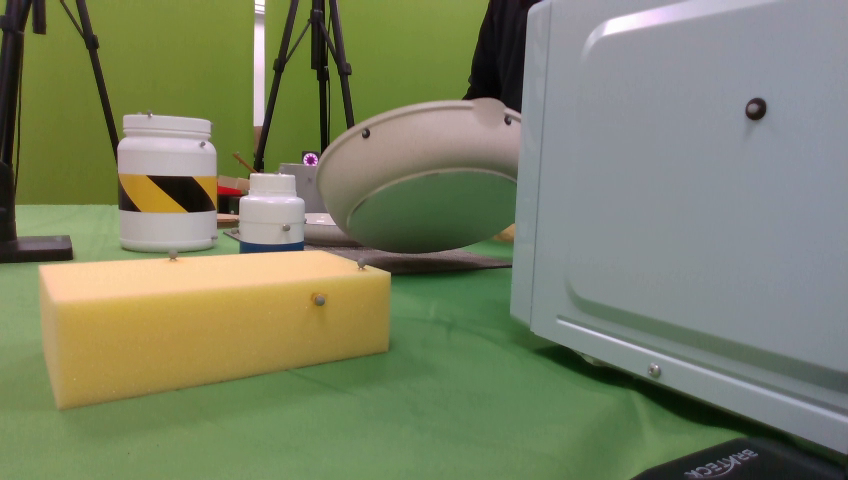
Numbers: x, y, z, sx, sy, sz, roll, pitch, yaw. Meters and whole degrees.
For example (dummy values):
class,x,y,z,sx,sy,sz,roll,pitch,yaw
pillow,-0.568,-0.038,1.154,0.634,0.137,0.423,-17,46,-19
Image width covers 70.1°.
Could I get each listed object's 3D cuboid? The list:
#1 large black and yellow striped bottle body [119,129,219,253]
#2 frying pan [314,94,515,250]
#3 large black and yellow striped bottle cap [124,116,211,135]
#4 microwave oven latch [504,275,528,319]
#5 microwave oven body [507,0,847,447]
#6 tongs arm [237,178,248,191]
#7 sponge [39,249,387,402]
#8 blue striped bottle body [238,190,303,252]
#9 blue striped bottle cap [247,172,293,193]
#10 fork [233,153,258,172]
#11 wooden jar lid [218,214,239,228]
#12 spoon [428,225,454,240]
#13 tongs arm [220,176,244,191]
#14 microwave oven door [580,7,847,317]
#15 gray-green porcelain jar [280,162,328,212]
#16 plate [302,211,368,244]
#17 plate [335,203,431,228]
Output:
class,x,y,z,sx,sy,sz,roll,pitch,yaw
large black and yellow striped bottle body,-0.367,-0.080,0.876,0.131,0.184,0.130,2,7,0
frying pan,0.104,-0.074,0.806,0.490,0.102,0.306,-6,-21,-28
large black and yellow striped bottle cap,-0.366,-0.163,0.866,0.115,0.019,0.115,3,7,0
microwave oven latch,0.100,0.042,0.469,0.079,0.029,0.030,-1,7,-25
microwave oven body,0.331,-0.042,0.425,0.444,0.260,0.324,-2,8,-31
tongs arm,-0.241,-0.095,1.374,0.387,0.026,0.050,9,0,-37
sponge,-0.142,0.047,0.420,0.208,0.061,0.117,-3,8,-36
blue striped bottle body,-0.153,-0.007,0.606,0.063,0.120,0.063,2,8,0
blue striped bottle cap,-0.152,-0.057,0.598,0.044,0.020,0.044,3,6,0
fork,-0.396,-0.143,1.486,0.028,0.018,0.208,20,-26,45
wooden jar lid,-0.404,-0.037,1.169,0.108,0.020,0.108,3,7,0
spoon,0.024,-0.018,1.125,0.042,0.021,0.193,-8,7,-5
tongs arm,-0.285,-0.104,1.445,0.389,0.027,0.028,9,-4,-23
microwave oven door,0.295,-0.067,0.570,0.358,0.243,0.039,-3,9,-31
gray-green porcelain jar,-0.238,-0.092,1.221,0.106,0.126,0.106,2,7,0
plate,-0.139,-0.022,1.021,0.209,0.038,0.209,2,8,0
plate,-0.089,-0.053,1.309,0.208,0.039,0.207,2,8,0
